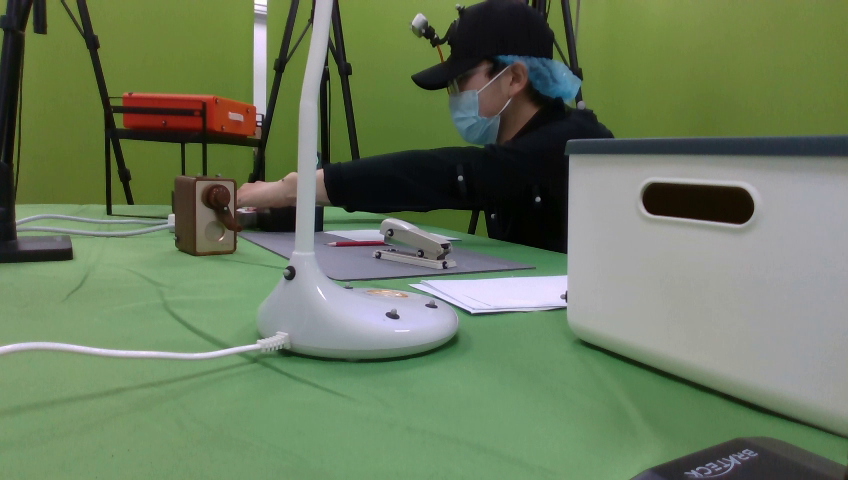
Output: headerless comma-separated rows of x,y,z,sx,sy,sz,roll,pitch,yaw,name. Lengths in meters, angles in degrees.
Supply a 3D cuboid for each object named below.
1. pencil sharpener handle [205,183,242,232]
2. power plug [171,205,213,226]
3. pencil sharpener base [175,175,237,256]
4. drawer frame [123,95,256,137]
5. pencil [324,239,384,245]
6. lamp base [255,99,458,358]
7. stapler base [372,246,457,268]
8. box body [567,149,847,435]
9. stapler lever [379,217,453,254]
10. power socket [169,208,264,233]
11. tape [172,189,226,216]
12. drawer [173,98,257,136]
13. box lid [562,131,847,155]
-0.265,-0.043,0.812,0.036,0.068,0.030,-32,28,-35,pencil sharpener handle
-0.455,-0.040,1.197,0.052,0.035,0.072,7,48,21,power plug
-0.304,-0.035,0.847,0.062,0.107,0.076,-4,10,-42,pencil sharpener base
-0.524,-0.280,1.376,0.213,0.082,0.202,3,8,8,drawer frame
-0.067,0.002,0.980,0.195,0.012,0.012,-2,9,-25,pencil
-0.056,-0.013,0.462,0.160,0.180,0.180,6,11,27,lamp base
-0.016,0.017,0.831,0.130,0.024,0.041,10,12,39,stapler base
0.318,0.009,0.471,0.366,0.160,0.253,-2,8,-31,box body
-0.013,-0.007,0.828,0.117,0.040,0.027,9,11,39,stapler lever
-0.382,-0.038,1.130,0.072,0.032,0.227,4,8,16,power socket
-0.515,-0.087,1.388,0.117,0.052,0.117,3,8,0,tape
-0.518,-0.279,1.376,0.211,0.073,0.195,3,8,9,drawer
0.322,-0.064,0.463,0.373,0.015,0.262,-2,9,-31,box lid
